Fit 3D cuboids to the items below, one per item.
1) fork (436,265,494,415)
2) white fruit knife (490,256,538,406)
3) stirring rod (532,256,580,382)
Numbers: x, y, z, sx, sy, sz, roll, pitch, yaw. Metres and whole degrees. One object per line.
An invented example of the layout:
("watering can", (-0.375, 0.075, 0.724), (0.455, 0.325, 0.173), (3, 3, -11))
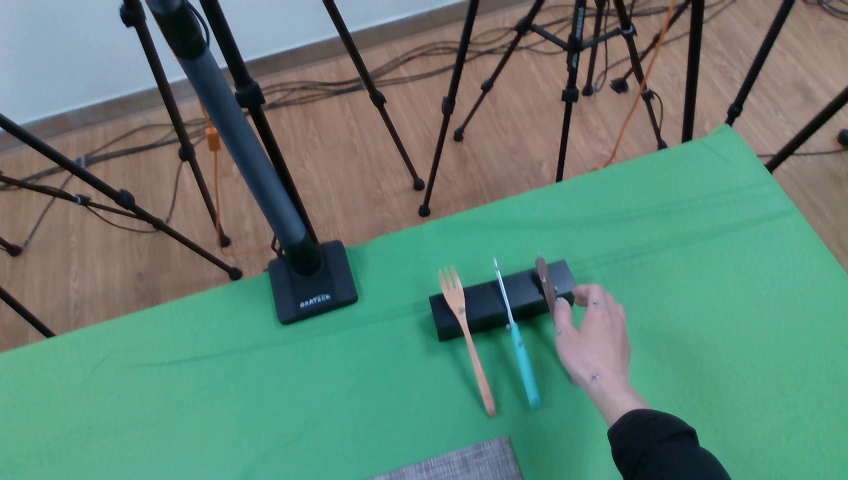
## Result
("fork", (0.057, 0.133, 0.813), (0.028, 0.019, 0.206), (-17, 79, -6))
("white fruit knife", (0.117, 0.119, 0.814), (0.016, 0.027, 0.206), (-13, 75, -7))
("stirring rod", (0.178, 0.106, 0.820), (0.014, 0.006, 0.175), (-17, 84, 3))
